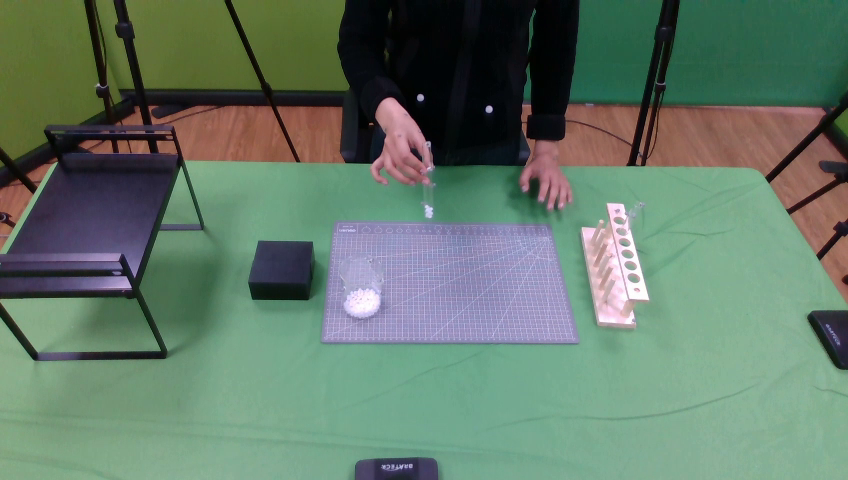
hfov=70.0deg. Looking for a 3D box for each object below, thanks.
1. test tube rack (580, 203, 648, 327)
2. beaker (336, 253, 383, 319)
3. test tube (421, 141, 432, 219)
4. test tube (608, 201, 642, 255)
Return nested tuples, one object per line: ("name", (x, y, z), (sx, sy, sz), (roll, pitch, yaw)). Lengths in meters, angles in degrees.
("test tube rack", (0.352, 0.040, 1.143), (0.067, 0.085, 0.241), (4, 46, 0))
("beaker", (-0.108, 0.084, 1.052), (0.084, 0.101, 0.074), (25, 50, 17))
("test tube", (0.005, -0.099, 1.031), (0.017, 0.151, 0.017), (-1, 36, 1))
("test tube", (0.373, -0.019, 1.133), (0.017, 0.151, 0.017), (3, 52, -4))
